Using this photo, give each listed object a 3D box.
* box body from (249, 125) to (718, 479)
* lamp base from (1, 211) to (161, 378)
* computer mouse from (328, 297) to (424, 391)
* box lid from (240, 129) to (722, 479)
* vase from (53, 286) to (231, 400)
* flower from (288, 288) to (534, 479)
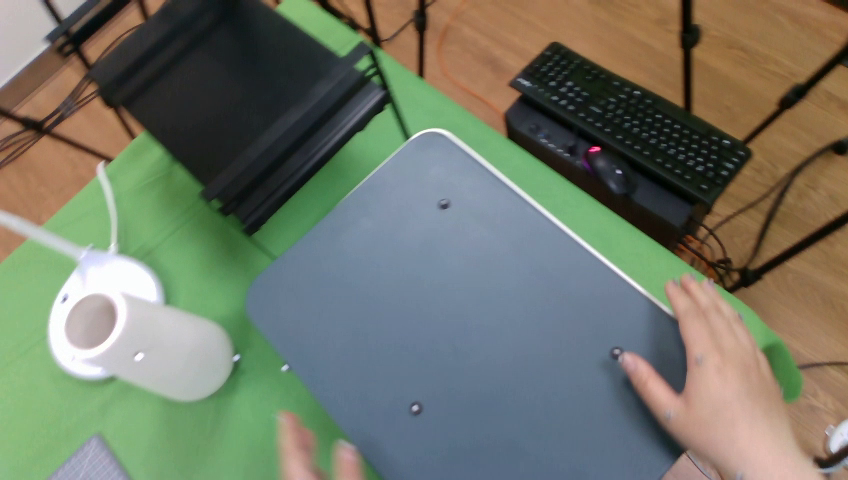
[{"bbox_3d":[0.048,0.100,0.601,0.254,0.162,0.361,-44,67,-7],"label":"box body"},{"bbox_3d":[-0.427,0.055,0.705,0.160,0.182,0.177,-15,63,5],"label":"lamp base"},{"bbox_3d":[-0.057,0.113,0.678,0.116,0.041,0.063,35,83,30],"label":"computer mouse"},{"bbox_3d":[0.029,0.080,0.527,0.263,0.015,0.368,-44,67,-8],"label":"box lid"},{"bbox_3d":[-0.292,0.111,0.645,0.098,0.202,0.097,-5,67,12],"label":"vase"},{"bbox_3d":[0.003,0.166,0.630,0.360,0.038,0.044,36,36,13],"label":"flower"}]
